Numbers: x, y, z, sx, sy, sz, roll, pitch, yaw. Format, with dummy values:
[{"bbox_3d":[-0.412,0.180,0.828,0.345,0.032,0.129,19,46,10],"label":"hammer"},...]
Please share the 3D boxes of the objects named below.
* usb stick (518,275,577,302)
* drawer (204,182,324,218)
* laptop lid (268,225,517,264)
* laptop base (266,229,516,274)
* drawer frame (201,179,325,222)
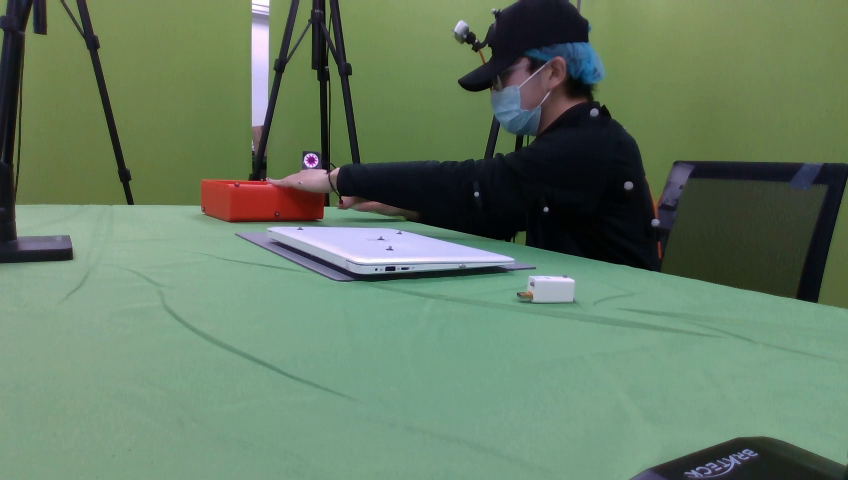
[{"bbox_3d":[0.127,0.050,0.626,0.059,0.027,0.021,-2,10,-12],"label":"usb stick"},{"bbox_3d":[-0.360,-0.092,1.358,0.213,0.073,0.193,-4,10,-36],"label":"drawer"},{"bbox_3d":[-0.063,0.002,0.877,0.243,0.013,0.355,1,7,-30],"label":"laptop lid"},{"bbox_3d":[-0.065,0.014,0.877,0.237,0.023,0.352,2,6,-32],"label":"laptop base"},{"bbox_3d":[-0.361,-0.092,1.356,0.215,0.082,0.200,-4,10,-37],"label":"drawer frame"}]
